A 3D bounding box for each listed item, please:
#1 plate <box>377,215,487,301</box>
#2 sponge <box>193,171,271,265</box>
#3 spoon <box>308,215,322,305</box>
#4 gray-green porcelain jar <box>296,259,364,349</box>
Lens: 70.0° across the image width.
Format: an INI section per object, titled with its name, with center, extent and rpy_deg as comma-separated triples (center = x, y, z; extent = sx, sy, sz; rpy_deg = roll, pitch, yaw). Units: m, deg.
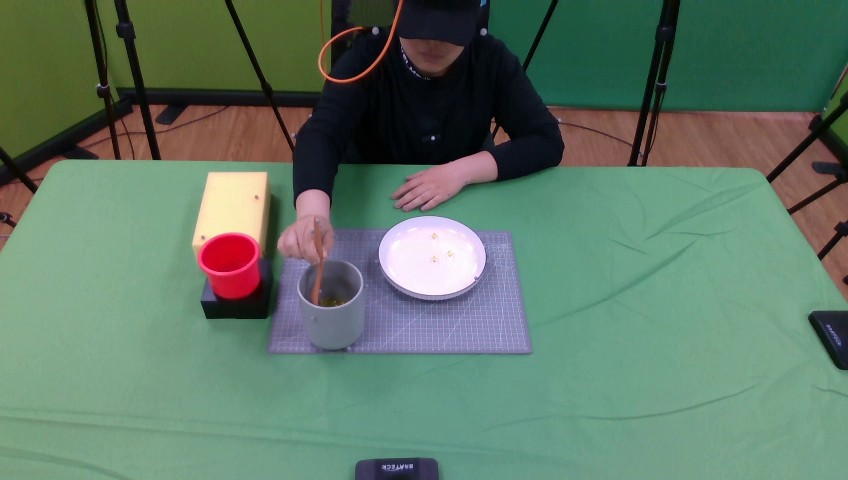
[plate]
center = 0.015, 0.037, 1.147
extent = 0.208, 0.039, 0.206
rpy_deg = 2, 46, -2
[sponge]
center = -0.371, -0.047, 1.189
extent = 0.118, 0.061, 0.205
rpy_deg = -3, 47, -6
[spoon]
center = -0.169, 0.048, 0.953
extent = 0.022, 0.194, 0.041
rpy_deg = -1, 29, -18
[gray-green porcelain jar]
center = -0.152, 0.111, 1.003
extent = 0.106, 0.127, 0.105
rpy_deg = 2, 46, -2
